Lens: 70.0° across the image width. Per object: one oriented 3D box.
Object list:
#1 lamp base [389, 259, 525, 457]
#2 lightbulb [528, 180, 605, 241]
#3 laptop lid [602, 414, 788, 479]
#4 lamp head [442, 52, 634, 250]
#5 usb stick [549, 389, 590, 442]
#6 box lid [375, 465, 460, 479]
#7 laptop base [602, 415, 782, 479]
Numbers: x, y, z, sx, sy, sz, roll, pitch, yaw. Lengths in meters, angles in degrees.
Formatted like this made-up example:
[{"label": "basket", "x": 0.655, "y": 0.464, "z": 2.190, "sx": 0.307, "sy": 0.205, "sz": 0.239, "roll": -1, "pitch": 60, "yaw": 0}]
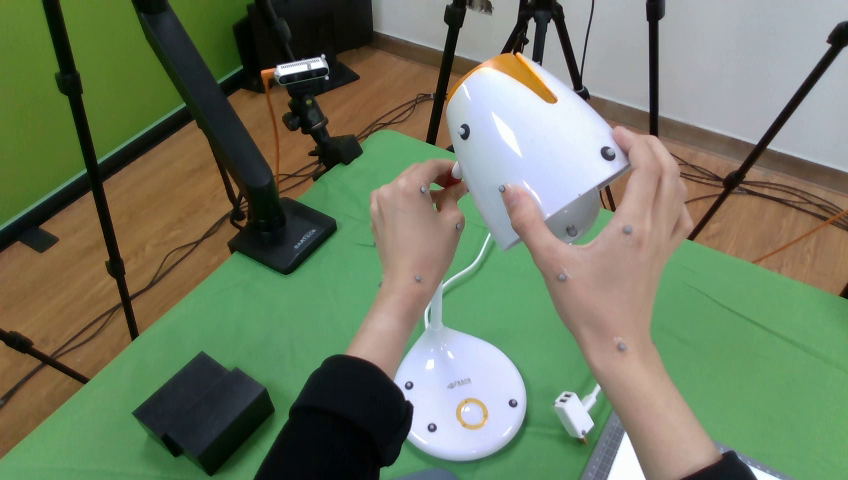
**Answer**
[{"label": "lamp base", "x": 0.030, "y": 0.120, "z": 0.672, "sx": 0.161, "sy": 0.182, "sz": 0.177, "roll": -23, "pitch": 47, "yaw": -19}, {"label": "lightbulb", "x": 0.090, "y": -0.053, "z": 0.420, "sx": 0.059, "sy": 0.059, "sz": 0.107, "roll": -10, "pitch": 86, "yaw": -7}, {"label": "laptop lid", "x": 0.326, "y": 0.330, "z": 0.561, "sx": 0.354, "sy": 0.013, "sz": 0.241, "roll": 23, "pitch": 54, "yaw": 22}, {"label": "lamp head", "x": 0.067, "y": -0.068, "z": 0.432, "sx": 0.112, "sy": 0.113, "sz": 0.122, "roll": -31, "pitch": 78, "yaw": -25}, {"label": "usb stick", "x": 0.168, "y": 0.200, "z": 0.684, "sx": 0.027, "sy": 0.059, "sz": 0.021, "roll": -34, "pitch": 10, "yaw": -31}, {"label": "box lid", "x": -0.047, "y": 0.396, "z": 0.531, "sx": 0.264, "sy": 0.015, "sz": 0.367, "roll": -12, "pitch": 48, "yaw": -9}, {"label": "laptop base", "x": 0.328, "y": 0.336, "z": 0.571, "sx": 0.352, "sy": 0.023, "sz": 0.234, "roll": 21, "pitch": 54, "yaw": 20}]
